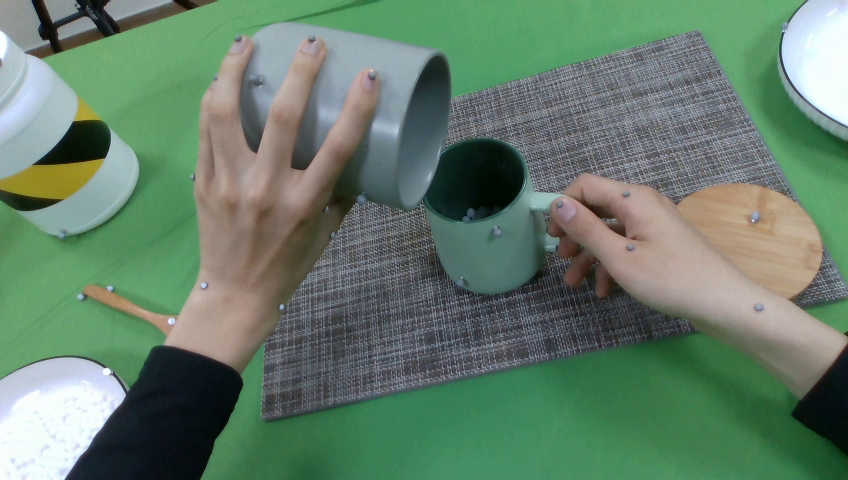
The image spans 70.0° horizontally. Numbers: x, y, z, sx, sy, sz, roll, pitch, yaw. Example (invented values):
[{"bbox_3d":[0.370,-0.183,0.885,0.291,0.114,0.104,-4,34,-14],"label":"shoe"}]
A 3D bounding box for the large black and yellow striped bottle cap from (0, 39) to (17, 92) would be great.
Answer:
[{"bbox_3d":[-0.426,-0.142,0.548,0.115,0.019,0.114,-8,55,12],"label":"large black and yellow striped bottle cap"}]

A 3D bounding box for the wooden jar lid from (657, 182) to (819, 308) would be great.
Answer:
[{"bbox_3d":[0.233,0.004,0.456,0.108,0.021,0.107,-8,57,13],"label":"wooden jar lid"}]

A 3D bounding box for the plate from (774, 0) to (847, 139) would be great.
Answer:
[{"bbox_3d":[0.401,-0.147,0.496,0.207,0.039,0.205,-8,57,12],"label":"plate"}]

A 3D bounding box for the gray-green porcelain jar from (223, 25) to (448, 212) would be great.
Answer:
[{"bbox_3d":[-0.059,-0.084,0.409,0.126,0.107,0.105,15,63,13],"label":"gray-green porcelain jar"}]

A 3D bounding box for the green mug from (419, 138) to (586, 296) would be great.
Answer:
[{"bbox_3d":[0.061,-0.014,0.467,0.125,0.106,0.092,5,59,20],"label":"green mug"}]

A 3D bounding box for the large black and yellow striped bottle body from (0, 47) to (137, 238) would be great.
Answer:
[{"bbox_3d":[-0.405,-0.100,0.616,0.130,0.186,0.129,-8,57,12],"label":"large black and yellow striped bottle body"}]

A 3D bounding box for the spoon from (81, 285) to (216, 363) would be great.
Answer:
[{"bbox_3d":[-0.262,0.070,0.566,0.192,0.022,0.041,16,80,25],"label":"spoon"}]

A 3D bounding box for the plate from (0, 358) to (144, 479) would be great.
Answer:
[{"bbox_3d":[-0.318,0.199,0.491,0.209,0.038,0.207,-8,56,12],"label":"plate"}]
